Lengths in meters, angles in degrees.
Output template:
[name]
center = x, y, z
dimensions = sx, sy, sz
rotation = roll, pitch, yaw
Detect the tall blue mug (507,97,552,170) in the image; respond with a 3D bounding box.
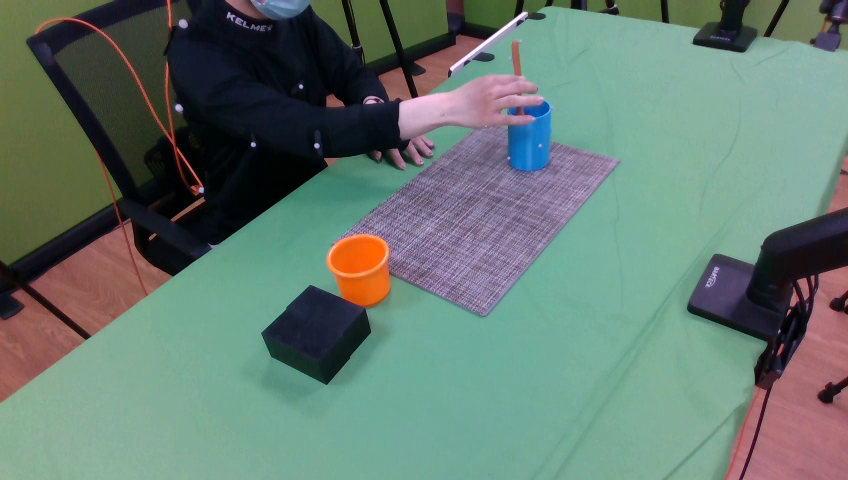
[tall blue mug]
center = 0.179, -0.198, 1.101
dimensions = 0.078, 0.108, 0.106
rotation = -36, 48, -28

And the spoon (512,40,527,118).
[spoon]
center = 0.165, -0.255, 1.052
dimensions = 0.041, 0.194, 0.022
rotation = 13, 41, 30
